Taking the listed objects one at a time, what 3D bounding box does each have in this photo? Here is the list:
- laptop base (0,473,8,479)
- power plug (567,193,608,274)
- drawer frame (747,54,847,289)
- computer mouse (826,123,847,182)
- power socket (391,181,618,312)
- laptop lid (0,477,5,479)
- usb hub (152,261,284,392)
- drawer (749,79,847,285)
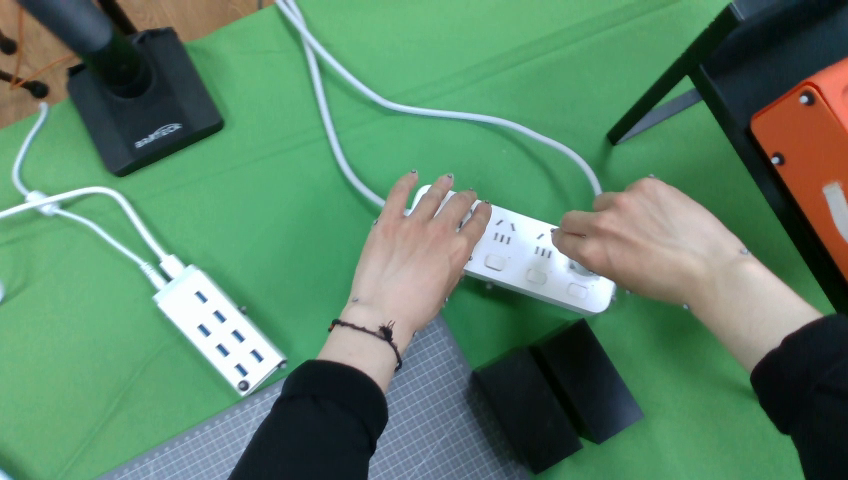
[{"bbox_3d":[-0.518,0.311,0.508,0.235,0.023,0.353,38,80,0],"label":"laptop base"},{"bbox_3d":[0.163,-0.001,0.581,0.035,0.053,0.072,29,77,2],"label":"power plug"},{"bbox_3d":[0.375,-0.058,0.417,0.213,0.083,0.201,-29,83,-9],"label":"drawer frame"},{"bbox_3d":[0.345,-0.042,0.428,0.063,0.041,0.117,-32,82,-4],"label":"computer mouse"},{"bbox_3d":[0.082,0.007,0.593,0.227,0.032,0.072,19,79,0],"label":"power socket"},{"bbox_3d":[-0.516,0.310,0.495,0.241,0.013,0.356,39,80,1],"label":"laptop lid"},{"bbox_3d":[-0.192,0.081,0.565,0.049,0.025,0.125,-43,85,-8],"label":"usb hub"},{"bbox_3d":[0.372,-0.055,0.418,0.212,0.073,0.194,-27,83,-9],"label":"drawer"}]
